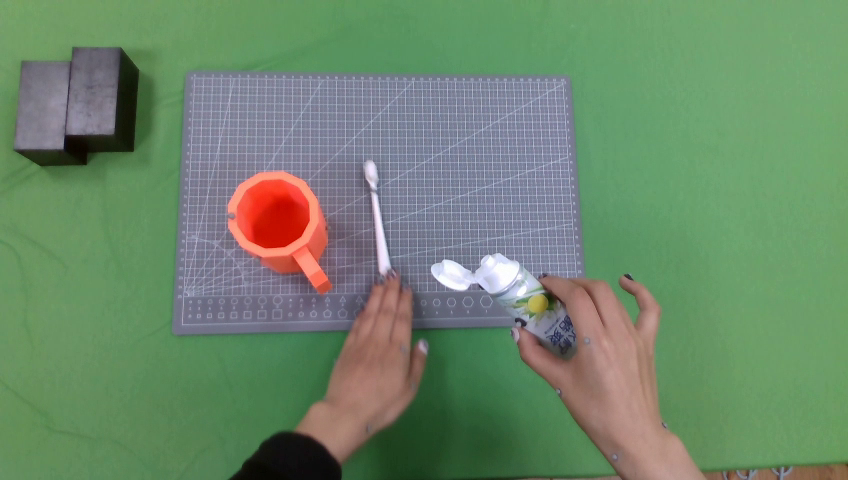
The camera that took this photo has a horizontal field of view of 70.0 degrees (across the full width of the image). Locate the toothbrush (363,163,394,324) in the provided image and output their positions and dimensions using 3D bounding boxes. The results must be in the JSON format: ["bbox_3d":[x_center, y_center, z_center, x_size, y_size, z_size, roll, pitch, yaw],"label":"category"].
[{"bbox_3d":[-0.049,0.002,0.669,0.014,0.016,0.181,-5,81,-16],"label":"toothbrush"}]

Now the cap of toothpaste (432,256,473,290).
[{"bbox_3d":[0.023,0.025,0.488,0.037,0.037,0.011,29,119,2],"label":"cap of toothpaste"}]

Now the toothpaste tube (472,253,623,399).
[{"bbox_3d":[0.100,0.069,0.507,0.166,0.034,0.055,42,93,-18],"label":"toothpaste tube"}]

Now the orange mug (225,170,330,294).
[{"bbox_3d":[-0.139,-0.002,0.621,0.083,0.101,0.125,-35,79,-10],"label":"orange mug"}]
